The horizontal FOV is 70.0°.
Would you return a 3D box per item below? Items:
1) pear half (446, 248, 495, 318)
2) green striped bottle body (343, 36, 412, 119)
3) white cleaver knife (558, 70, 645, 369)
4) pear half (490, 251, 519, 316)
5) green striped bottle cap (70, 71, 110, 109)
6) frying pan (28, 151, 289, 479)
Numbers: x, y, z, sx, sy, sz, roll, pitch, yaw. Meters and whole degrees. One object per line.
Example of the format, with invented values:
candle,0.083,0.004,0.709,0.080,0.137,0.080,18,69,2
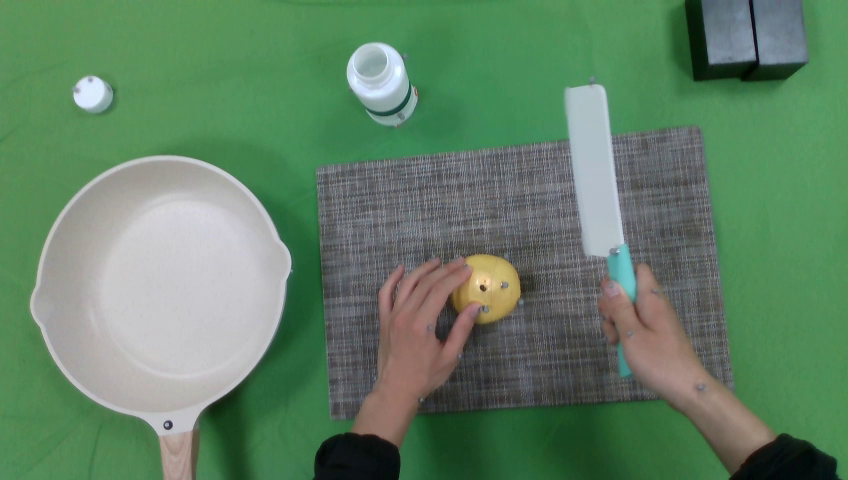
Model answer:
pear half,0.050,0.044,0.645,0.056,0.110,0.076,0,81,7
green striped bottle body,-0.051,-0.182,0.674,0.063,0.119,0.063,-1,84,6
white cleaver knife,0.169,-0.015,0.577,0.021,0.065,0.287,-13,98,-23
pear half,0.086,0.046,0.651,0.031,0.088,0.070,0,81,7
green striped bottle cap,-0.421,-0.189,0.764,0.044,0.020,0.044,-1,85,7
frying pan,-0.279,0.146,0.677,0.307,0.103,0.485,-10,76,6
